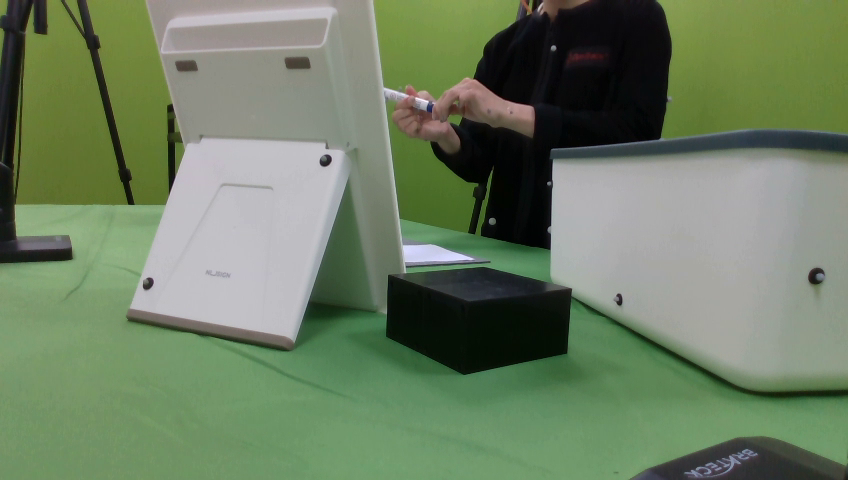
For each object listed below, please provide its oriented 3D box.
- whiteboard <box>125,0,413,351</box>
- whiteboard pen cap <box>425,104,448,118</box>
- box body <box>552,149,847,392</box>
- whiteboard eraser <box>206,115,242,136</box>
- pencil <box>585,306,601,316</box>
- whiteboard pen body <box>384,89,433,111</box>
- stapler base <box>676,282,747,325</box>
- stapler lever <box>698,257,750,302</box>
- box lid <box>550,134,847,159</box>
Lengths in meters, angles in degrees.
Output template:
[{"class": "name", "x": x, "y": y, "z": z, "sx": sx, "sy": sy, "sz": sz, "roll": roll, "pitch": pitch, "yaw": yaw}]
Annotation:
[{"class": "whiteboard", "x": -0.151, "y": -0.050, "z": 0.471, "sx": 0.216, "sy": 0.305, "sz": 0.144, "roll": 6, "pitch": 27, "yaw": 24}, {"class": "whiteboard pen cap", "x": 0.019, "y": -0.198, "z": 0.928, "sx": 0.033, "sy": 0.018, "sz": 0.018, "roll": 21, "pitch": 16, "yaw": 31}, {"class": "box body", "x": 0.290, "y": 0.002, "z": 0.549, "sx": 0.255, "sy": 0.160, "sz": 0.363, "roll": 2, "pitch": 7, "yaw": -10}, {"class": "whiteboard eraser", "x": -0.438, "y": -0.249, "z": 1.320, "sx": 0.056, "sy": 0.042, "sz": 0.112, "roll": -3, "pitch": 9, "yaw": -30}, {"class": "pencil", "x": 0.250, "y": 0.055, "z": 0.656, "sx": 0.195, "sy": 0.012, "sz": 0.012, "roll": -12, "pitch": 13, "yaw": -27}, {"class": "whiteboard pen body", "x": -0.031, "y": -0.222, "z": 0.954, "sx": 0.140, "sy": 0.017, "sz": 0.017, "roll": 21, "pitch": 14, "yaw": 21}, {"class": "stapler base", "x": 0.283, "y": 0.057, "z": 0.585, "sx": 0.041, "sy": 0.024, "sz": 0.131, "roll": 32, "pitch": 19, "yaw": 33}, {"class": "stapler lever", "x": 0.291, "y": 0.035, "z": 0.580, "sx": 0.026, "sy": 0.040, "sz": 0.119, "roll": 32, "pitch": 21, "yaw": 33}, {"class": "box lid", "x": 0.294, "y": -0.071, "z": 0.538, "sx": 0.264, "sy": 0.015, "sz": 0.370, "roll": 2, "pitch": 6, "yaw": -10}]
